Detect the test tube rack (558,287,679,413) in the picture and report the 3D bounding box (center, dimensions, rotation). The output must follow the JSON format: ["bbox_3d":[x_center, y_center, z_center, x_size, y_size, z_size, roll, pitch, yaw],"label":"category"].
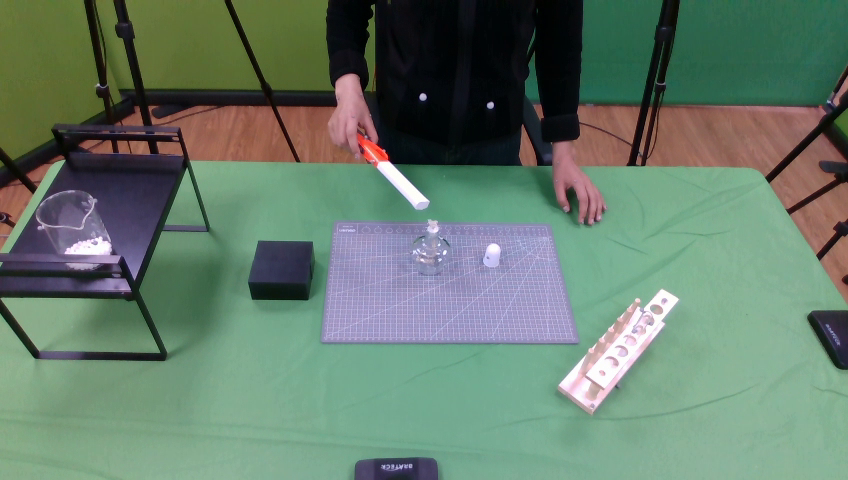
[{"bbox_3d":[0.326,0.170,1.009,0.066,0.085,0.242,36,54,27],"label":"test tube rack"}]

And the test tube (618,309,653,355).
[{"bbox_3d":[0.329,0.155,0.956,0.017,0.151,0.017,2,51,-2],"label":"test tube"}]

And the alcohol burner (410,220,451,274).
[{"bbox_3d":[0.013,0.007,1.120,0.078,0.120,0.077,1,48,-1],"label":"alcohol burner"}]

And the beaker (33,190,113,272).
[{"bbox_3d":[-0.493,-0.009,0.865,0.083,0.101,0.074,37,55,27],"label":"beaker"}]

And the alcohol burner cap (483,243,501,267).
[{"bbox_3d":[0.132,0.025,1.161,0.034,0.048,0.033,3,47,-3],"label":"alcohol burner cap"}]

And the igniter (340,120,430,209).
[{"bbox_3d":[-0.081,-0.148,1.134,0.057,0.025,0.275,-8,45,-43],"label":"igniter"}]
